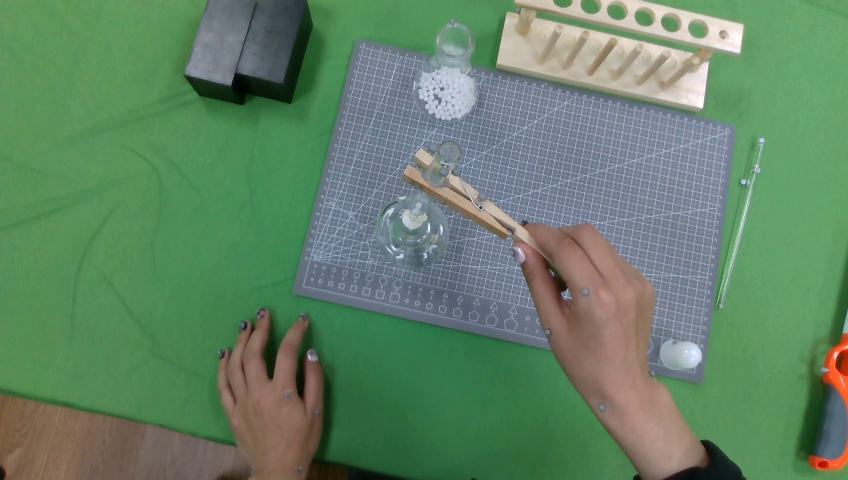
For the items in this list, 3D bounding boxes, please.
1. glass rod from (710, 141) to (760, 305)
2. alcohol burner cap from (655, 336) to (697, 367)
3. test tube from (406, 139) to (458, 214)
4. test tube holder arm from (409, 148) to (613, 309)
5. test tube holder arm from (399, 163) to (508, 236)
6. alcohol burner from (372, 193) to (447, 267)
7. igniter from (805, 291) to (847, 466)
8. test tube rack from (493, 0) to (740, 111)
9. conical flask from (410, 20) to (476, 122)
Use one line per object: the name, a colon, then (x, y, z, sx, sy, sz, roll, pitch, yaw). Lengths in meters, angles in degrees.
glass rod: (0.352, -0.021, 0.686, 0.008, 0.008, 0.199, 19, 82, 0)
alcohol burner cap: (0.268, 0.117, 0.638, 0.034, 0.048, 0.033, 1, 79, -3)
test tube: (0.003, -0.042, 0.446, 0.017, 0.150, 0.017, 2, 79, -9)
test tube holder arm: (0.063, -0.008, 0.435, 0.178, 0.015, 0.013, 36, 80, -1)
test tube holder arm: (0.022, -0.028, 0.432, 0.088, 0.015, 0.010, 29, 79, -2)
alcohol burner: (-0.015, -0.014, 0.605, 0.078, 0.119, 0.077, 0, 78, -2)
igniter: (0.465, 0.113, 0.661, 0.057, 0.025, 0.275, 22, 80, -10)
test tube rack: (0.206, -0.215, 0.670, 0.242, 0.085, 0.066, 12, 80, -2)
conical flask: (0.024, -0.178, 0.630, 0.075, 0.122, 0.075, 1, 80, -3)
